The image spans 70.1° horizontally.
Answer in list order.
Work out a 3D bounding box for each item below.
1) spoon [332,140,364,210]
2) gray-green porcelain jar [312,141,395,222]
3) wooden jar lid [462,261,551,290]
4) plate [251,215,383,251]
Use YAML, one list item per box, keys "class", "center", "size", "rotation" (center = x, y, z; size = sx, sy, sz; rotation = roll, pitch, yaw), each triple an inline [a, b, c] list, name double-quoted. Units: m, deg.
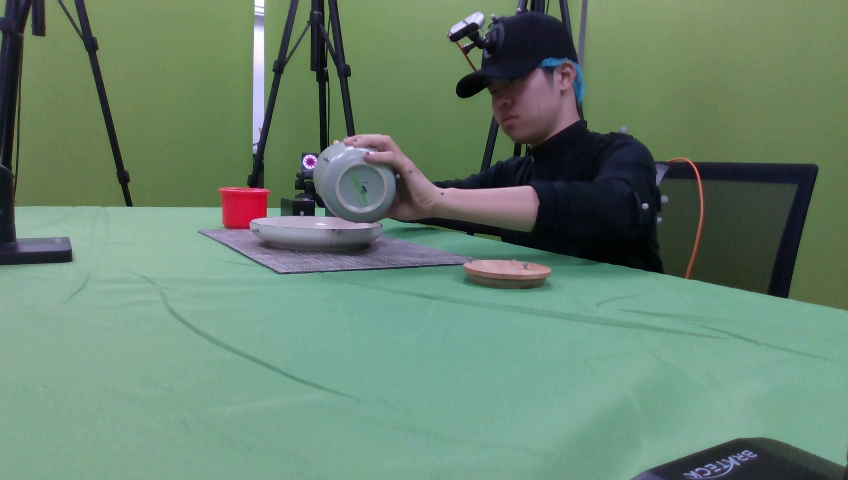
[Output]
- class: "spoon"
  center: [-0.126, -0.105, 0.932]
  size: [0.042, 0.021, 0.193]
  rotation: [-1, 34, -18]
- class: "gray-green porcelain jar"
  center: [-0.101, -0.084, 0.865]
  size: [0.106, 0.106, 0.126]
  rotation: [0, 13, -17]
- class: "wooden jar lid"
  center: [0.100, 0.043, 0.742]
  size: [0.108, 0.020, 0.108]
  rotation: [2, 6, 0]
- class: "plate"
  center: [-0.170, -0.012, 0.971]
  size: [0.208, 0.039, 0.207]
  rotation: [2, 7, 0]
